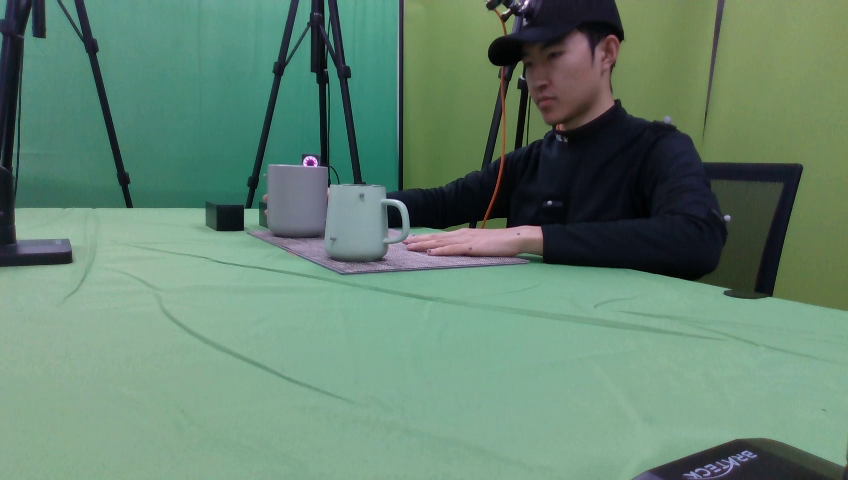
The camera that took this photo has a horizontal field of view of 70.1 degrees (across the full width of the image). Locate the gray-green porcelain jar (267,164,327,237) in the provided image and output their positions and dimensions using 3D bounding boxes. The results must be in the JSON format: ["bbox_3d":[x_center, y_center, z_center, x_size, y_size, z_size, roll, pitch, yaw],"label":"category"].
[{"bbox_3d":[-0.228,-0.072,1.086,0.106,0.126,0.106,2,8,0],"label":"gray-green porcelain jar"}]

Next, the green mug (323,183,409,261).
[{"bbox_3d":[-0.080,-0.026,0.851,0.125,0.105,0.093,5,7,20],"label":"green mug"}]
